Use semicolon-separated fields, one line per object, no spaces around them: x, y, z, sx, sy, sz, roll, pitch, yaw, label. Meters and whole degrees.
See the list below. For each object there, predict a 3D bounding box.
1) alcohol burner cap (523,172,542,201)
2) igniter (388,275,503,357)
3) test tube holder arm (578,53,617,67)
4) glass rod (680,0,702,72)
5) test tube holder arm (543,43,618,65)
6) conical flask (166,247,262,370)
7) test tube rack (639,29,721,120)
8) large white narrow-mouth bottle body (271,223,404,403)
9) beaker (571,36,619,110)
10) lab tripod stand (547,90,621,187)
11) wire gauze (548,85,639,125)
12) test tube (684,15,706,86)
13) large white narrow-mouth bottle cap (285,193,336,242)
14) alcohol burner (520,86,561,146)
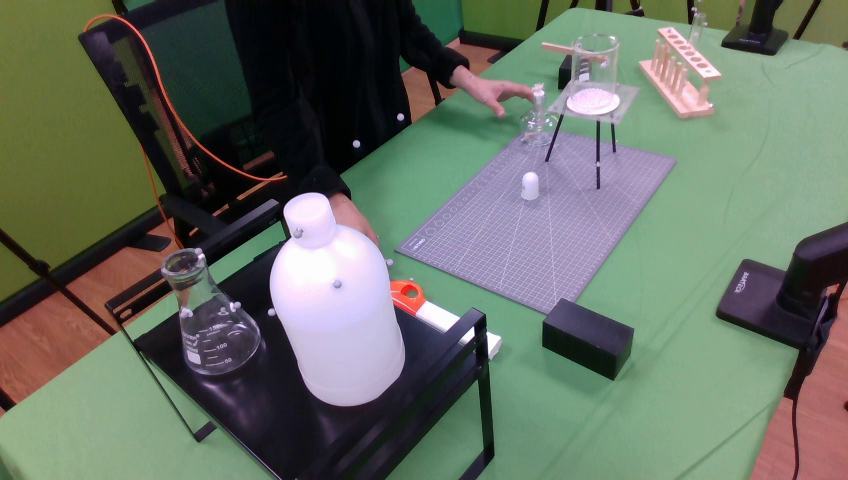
0.186;-0.096;1.047;0.034;0.048;0.033;-6;37;5;alcohol burner cap
-0.008;0.093;0.870;0.274;0.025;0.057;24;59;33;igniter
0.376;-0.393;1.314;0.087;0.015;0.010;26;51;32;test tube holder arm
0.542;-0.417;1.233;0.008;0.200;0.008;1;40;0;glass rod
0.344;-0.413;1.340;0.177;0.015;0.013;25;51;31;test tube holder arm
-0.209;0.064;0.584;0.075;0.122;0.075;-5;40;4;conical flask
0.527;-0.351;1.262;0.067;0.085;0.241;-8;40;1;test tube rack
-0.077;0.048;0.525;0.102;0.195;0.101;-5;40;5;large white narrow-mouth bottle body
0.281;-0.273;0.992;0.084;0.101;0.073;-24;42;-16;beaker
0.289;-0.184;1.062;0.148;0.132;0.147;-6;41;6;lab tripod stand
0.286;-0.233;1.020;0.124;0.011;0.122;15;43;30;wire gauze
0.540;-0.378;1.215;0.017;0.151;0.017;-2;44;3;test tube
-0.087;-0.018;0.467;0.038;0.024;0.037;-5;40;4;large white narrow-mouth bottle cap
0.223;-0.241;1.155;0.078;0.119;0.077;-5;43;5;alcohol burner
